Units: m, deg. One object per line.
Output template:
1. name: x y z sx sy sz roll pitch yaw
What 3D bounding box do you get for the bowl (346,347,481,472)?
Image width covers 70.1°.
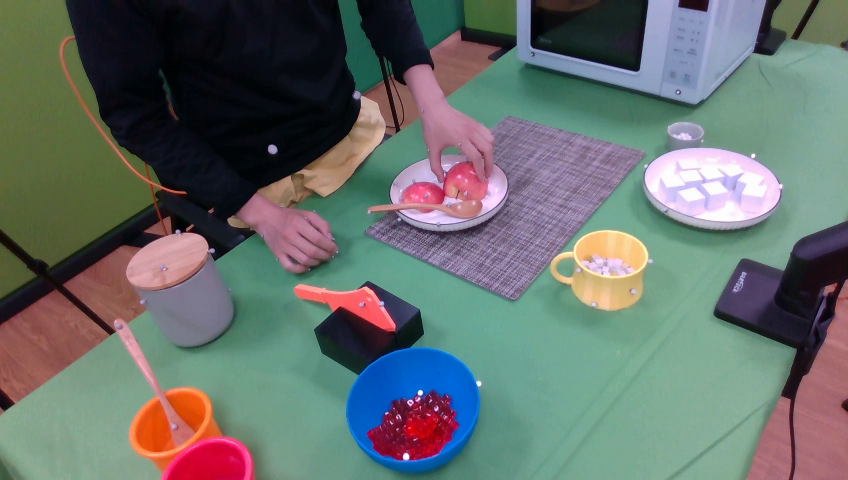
1. bowl: -0.008 0.205 0.691 0.151 0.077 0.150 -4 40 4

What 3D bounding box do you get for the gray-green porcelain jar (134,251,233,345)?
1. gray-green porcelain jar: -0.334 0.076 0.849 0.106 0.127 0.105 -4 41 4

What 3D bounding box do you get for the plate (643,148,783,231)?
1. plate: 0.464 -0.079 0.986 0.207 0.039 0.206 -4 40 4

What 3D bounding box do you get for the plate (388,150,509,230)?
1. plate: 0.044 -0.083 1.042 0.209 0.038 0.208 -4 40 4

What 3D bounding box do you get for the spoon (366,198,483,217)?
1. spoon: 0.001 -0.056 0.998 0.194 0.022 0.041 2 51 -9

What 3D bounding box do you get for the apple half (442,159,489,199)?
1. apple half: 0.074 -0.111 1.047 0.080 0.053 0.075 22 46 28

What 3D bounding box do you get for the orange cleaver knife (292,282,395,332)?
1. orange cleaver knife: -0.116 0.091 0.835 0.209 0.077 0.012 2 32 48

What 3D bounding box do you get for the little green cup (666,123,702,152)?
1. little green cup: 0.472 -0.183 1.102 0.061 0.039 0.061 -5 41 5

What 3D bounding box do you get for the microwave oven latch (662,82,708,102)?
1. microwave oven latch: 0.517 -0.298 1.203 0.078 0.029 0.030 27 52 34

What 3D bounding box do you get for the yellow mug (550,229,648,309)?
1. yellow mug: 0.245 0.040 0.857 0.130 0.064 0.099 1 42 11

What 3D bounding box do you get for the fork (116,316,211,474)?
1. fork: -0.308 0.179 0.708 0.028 0.018 0.207 -30 89 -15

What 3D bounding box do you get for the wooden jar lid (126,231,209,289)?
1. wooden jar lid: -0.340 0.030 0.808 0.108 0.021 0.108 -5 39 5

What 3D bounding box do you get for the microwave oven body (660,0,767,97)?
1. microwave oven body: 0.473 -0.517 1.314 0.438 0.261 0.327 26 51 34

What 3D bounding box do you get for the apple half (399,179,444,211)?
1. apple half: -0.004 -0.088 1.046 0.081 0.033 0.081 -2 43 2

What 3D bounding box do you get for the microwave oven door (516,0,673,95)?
1. microwave oven door: 0.344 -0.458 1.256 0.353 0.245 0.039 26 51 33
